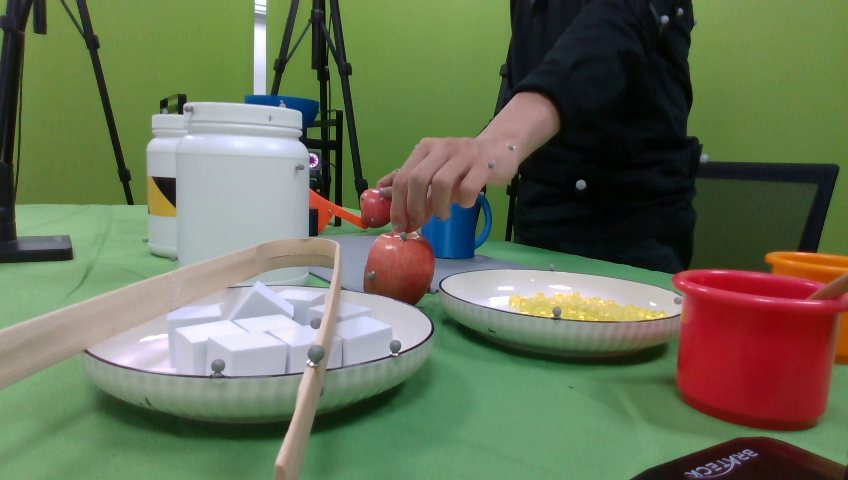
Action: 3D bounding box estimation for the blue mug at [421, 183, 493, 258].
[{"bbox_3d":[0.052,-0.032,0.912,0.117,0.106,0.082,-1,8,-24],"label":"blue mug"}]

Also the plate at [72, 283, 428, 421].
[{"bbox_3d":[-0.102,0.066,0.381,0.208,0.039,0.207,2,7,0],"label":"plate"}]

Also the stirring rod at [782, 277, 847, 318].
[{"bbox_3d":[0.344,0.019,0.460,0.014,0.006,0.176,-14,-27,-30],"label":"stirring rod"}]

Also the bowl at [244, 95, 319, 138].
[{"bbox_3d":[-0.293,-0.251,1.249,0.151,0.077,0.151,2,8,0],"label":"bowl"}]

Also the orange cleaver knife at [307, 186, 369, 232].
[{"bbox_3d":[-0.197,-0.056,1.141,0.212,0.077,0.012,29,0,-34],"label":"orange cleaver knife"}]

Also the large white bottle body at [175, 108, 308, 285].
[{"bbox_3d":[-0.188,-0.042,0.630,0.131,0.184,0.130,2,8,0],"label":"large white bottle body"}]

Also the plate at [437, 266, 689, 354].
[{"bbox_3d":[0.114,0.057,0.517,0.209,0.038,0.209,3,7,0],"label":"plate"}]

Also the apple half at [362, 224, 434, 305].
[{"bbox_3d":[-0.019,0.028,0.566,0.053,0.074,0.081,17,13,13],"label":"apple half"}]

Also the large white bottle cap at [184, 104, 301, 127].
[{"bbox_3d":[-0.184,-0.126,0.618,0.115,0.018,0.115,2,8,0],"label":"large white bottle cap"}]

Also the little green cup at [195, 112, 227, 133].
[{"bbox_3d":[-0.412,-0.228,1.171,0.061,0.038,0.061,3,8,0],"label":"little green cup"}]

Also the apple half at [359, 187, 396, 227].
[{"bbox_3d":[-0.086,-0.065,1.159,0.082,0.081,0.032,-1,1,-24],"label":"apple half"}]

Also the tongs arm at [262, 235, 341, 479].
[{"bbox_3d":[-0.074,0.039,0.349,0.051,0.026,0.384,-1,9,-3],"label":"tongs arm"}]

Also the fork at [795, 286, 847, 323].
[{"bbox_3d":[0.332,0.018,0.443,0.028,0.018,0.207,-1,-36,-15],"label":"fork"}]

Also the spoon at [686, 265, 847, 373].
[{"bbox_3d":[0.214,0.032,0.327,0.042,0.021,0.193,-3,-35,-26],"label":"spoon"}]

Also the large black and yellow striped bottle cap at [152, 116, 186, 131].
[{"bbox_3d":[-0.309,-0.155,0.826,0.115,0.019,0.115,3,6,0],"label":"large black and yellow striped bottle cap"}]

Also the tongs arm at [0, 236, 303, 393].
[{"bbox_3d":[-0.157,0.037,0.351,0.028,0.028,0.388,-3,8,12],"label":"tongs arm"}]

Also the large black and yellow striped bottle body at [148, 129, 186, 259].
[{"bbox_3d":[-0.310,-0.073,0.838,0.131,0.184,0.130,2,8,0],"label":"large black and yellow striped bottle body"}]
